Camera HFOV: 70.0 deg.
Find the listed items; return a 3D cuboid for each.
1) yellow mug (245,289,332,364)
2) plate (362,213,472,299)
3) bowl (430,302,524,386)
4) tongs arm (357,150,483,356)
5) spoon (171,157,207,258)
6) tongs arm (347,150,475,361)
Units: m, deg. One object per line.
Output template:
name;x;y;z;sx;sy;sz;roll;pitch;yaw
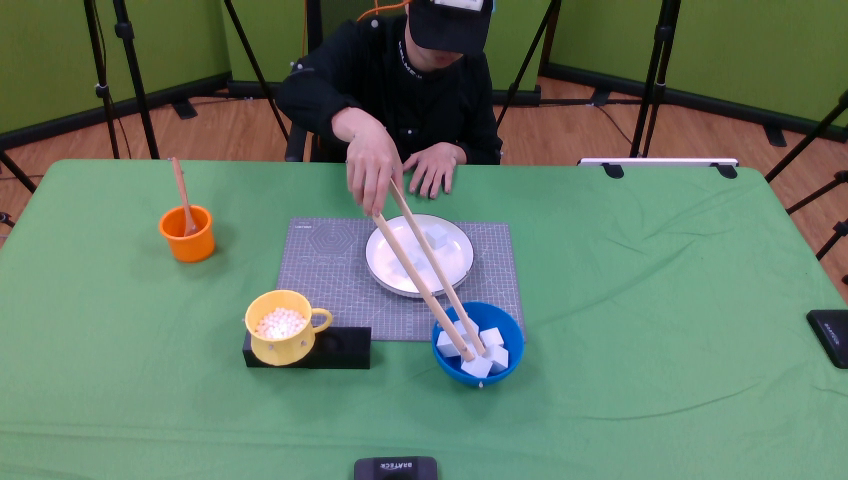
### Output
yellow mug;-0.210;0.132;0.954;0.131;0.064;0.099;-9;48;-14
plate;-0.013;0.034;1.150;0.208;0.039;0.206;3;46;-2
bowl;0.082;0.183;0.990;0.151;0.077;0.150;3;46;-3
tongs arm;-0.007;0.015;0.982;0.028;0.028;0.386;-23;76;-27
spoon;-0.444;-0.061;1.133;0.042;0.194;0.021;-12;4;-20
tongs arm;-0.020;0.020;0.973;0.051;0.026;0.384;-29;79;-32
